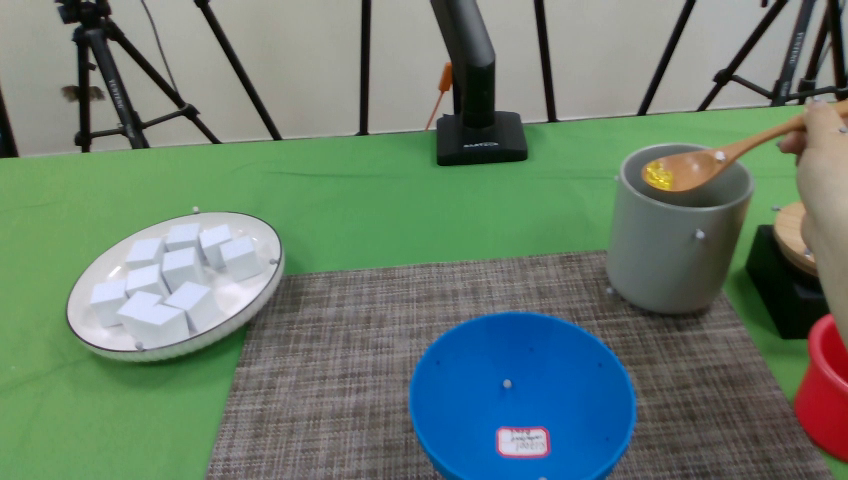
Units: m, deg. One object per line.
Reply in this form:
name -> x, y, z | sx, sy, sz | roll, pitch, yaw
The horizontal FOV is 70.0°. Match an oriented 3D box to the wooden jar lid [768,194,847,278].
wooden jar lid -> 0.359, -0.003, 0.529 | 0.108, 0.021, 0.107 | -4, 39, 4

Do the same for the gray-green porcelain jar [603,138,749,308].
gray-green porcelain jar -> 0.218, -0.010, 0.543 | 0.106, 0.127, 0.105 | -3, 39, 3

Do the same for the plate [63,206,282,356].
plate -> -0.244, 0.040, 0.609 | 0.209, 0.038, 0.207 | -4, 39, 4

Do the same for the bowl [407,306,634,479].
bowl -> 0.066, 0.126, 0.430 | 0.151, 0.077, 0.150 | -3, 39, 3

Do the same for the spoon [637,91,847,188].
spoon -> 0.256, -0.081, 0.447 | 0.193, 0.022, 0.041 | -22, 42, 19
